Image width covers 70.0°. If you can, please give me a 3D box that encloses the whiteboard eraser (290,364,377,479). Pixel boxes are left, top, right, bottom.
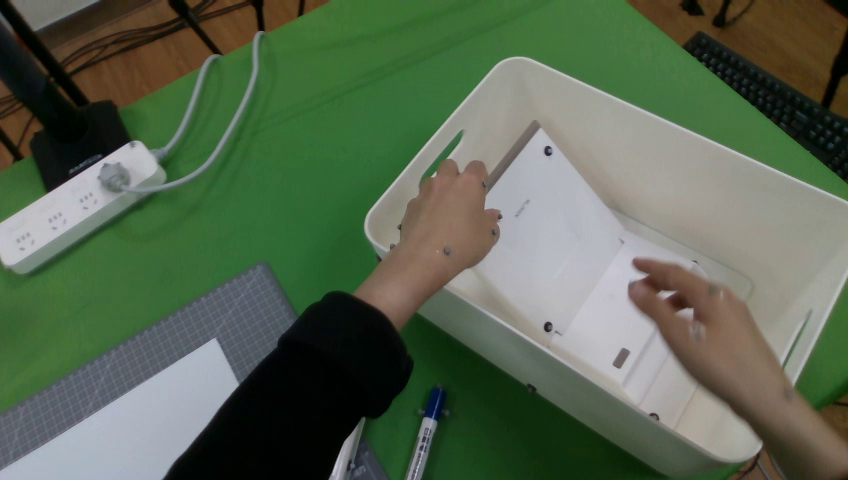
[{"bbox_3d":[-0.087,0.182,0.594,0.055,0.042,0.112,9,64,12],"label":"whiteboard eraser"}]

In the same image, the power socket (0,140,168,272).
[{"bbox_3d":[-0.427,-0.045,0.758,0.226,0.033,0.071,-36,65,-13],"label":"power socket"}]

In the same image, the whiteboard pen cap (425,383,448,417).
[{"bbox_3d":[0.012,0.163,0.611,0.018,0.018,0.033,13,66,13],"label":"whiteboard pen cap"}]

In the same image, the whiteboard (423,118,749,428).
[{"bbox_3d":[0.156,0.015,0.602,0.303,0.145,0.216,30,67,20],"label":"whiteboard"}]

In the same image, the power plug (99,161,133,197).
[{"bbox_3d":[-0.371,-0.065,0.737,0.035,0.053,0.072,-27,69,-8],"label":"power plug"}]

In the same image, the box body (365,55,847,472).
[{"bbox_3d":[0.163,0.019,0.587,0.361,0.162,0.253,31,70,20],"label":"box body"}]

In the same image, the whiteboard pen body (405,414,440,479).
[{"bbox_3d":[-0.005,0.213,0.587,0.017,0.017,0.140,13,65,14],"label":"whiteboard pen body"}]
